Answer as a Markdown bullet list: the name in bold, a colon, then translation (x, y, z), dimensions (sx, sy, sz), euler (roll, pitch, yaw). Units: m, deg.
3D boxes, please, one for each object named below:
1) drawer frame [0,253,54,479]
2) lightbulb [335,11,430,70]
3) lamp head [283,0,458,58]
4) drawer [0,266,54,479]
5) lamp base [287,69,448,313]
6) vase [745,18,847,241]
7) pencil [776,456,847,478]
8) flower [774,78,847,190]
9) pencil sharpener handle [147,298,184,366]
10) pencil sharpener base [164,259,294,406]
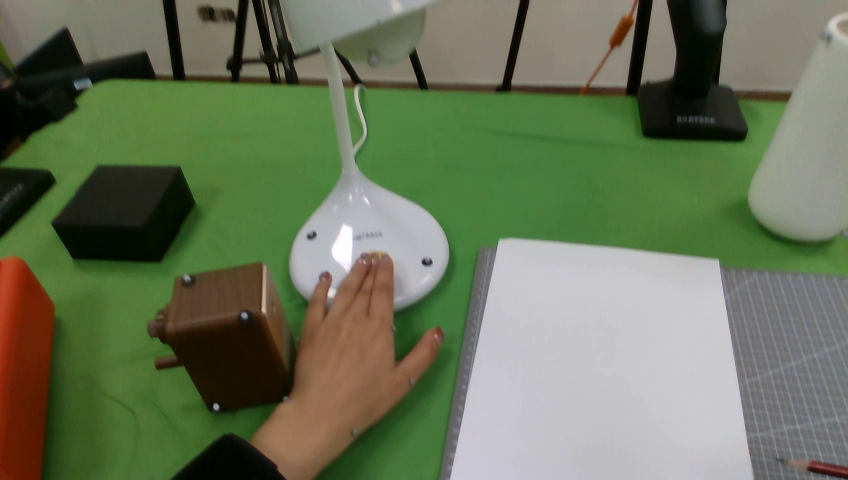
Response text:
- **drawer frame**: translation (-0.410, 0.129, 0.464), dimensions (0.202, 0.083, 0.211), euler (-18, 43, -13)
- **lightbulb**: translation (-0.031, -0.150, 0.335), dimensions (0.059, 0.108, 0.059), euler (-10, 19, 4)
- **lamp head**: translation (-0.039, -0.174, 0.333), dimensions (0.112, 0.123, 0.112), euler (-20, 15, 6)
- **drawer**: translation (-0.407, 0.131, 0.464), dimensions (0.195, 0.074, 0.209), euler (-17, 43, -13)
- **lamp base**: translation (-0.065, -0.053, 0.564), dimensions (0.161, 0.182, 0.177), euler (-17, 42, -13)
- **vase**: translation (0.372, -0.096, 0.561), dimensions (0.098, 0.202, 0.097), euler (-3, 41, 3)
- **pencil**: translation (0.282, 0.130, 0.302), dimensions (0.193, 0.012, 0.012), euler (-3, 33, 46)
- **flower**: translation (0.357, -0.143, 0.491), dimensions (0.038, 0.365, 0.043), euler (-36, 63, -12)
- **pencil sharpener handle**: translation (-0.203, 0.075, 0.470), dimensions (0.031, 0.068, 0.035), euler (-10, 45, -5)
- **pencil sharpener base**: translation (-0.152, 0.076, 0.483), dimensions (0.077, 0.108, 0.060), euler (-10, 43, -5)
